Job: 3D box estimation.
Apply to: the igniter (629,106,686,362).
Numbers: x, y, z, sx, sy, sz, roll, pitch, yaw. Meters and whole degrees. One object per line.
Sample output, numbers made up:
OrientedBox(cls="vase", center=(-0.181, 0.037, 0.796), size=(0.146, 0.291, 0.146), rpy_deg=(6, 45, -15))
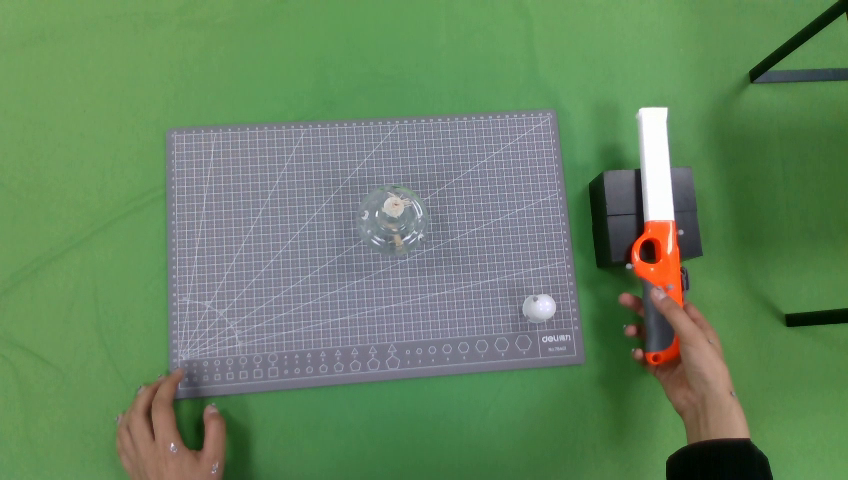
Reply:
OrientedBox(cls="igniter", center=(0.246, -0.010, 0.645), size=(0.057, 0.025, 0.275), rpy_deg=(0, 80, 2))

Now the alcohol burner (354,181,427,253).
OrientedBox(cls="alcohol burner", center=(-0.035, -0.027, 0.630), size=(0.078, 0.119, 0.077), rpy_deg=(1, 81, -5))

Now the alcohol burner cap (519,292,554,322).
OrientedBox(cls="alcohol burner cap", center=(0.125, 0.072, 0.662), size=(0.034, 0.048, 0.033), rpy_deg=(1, 80, -3))
